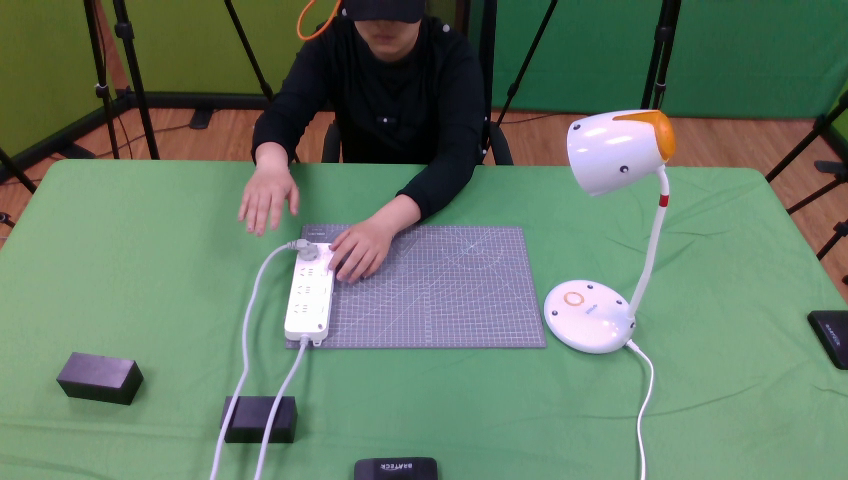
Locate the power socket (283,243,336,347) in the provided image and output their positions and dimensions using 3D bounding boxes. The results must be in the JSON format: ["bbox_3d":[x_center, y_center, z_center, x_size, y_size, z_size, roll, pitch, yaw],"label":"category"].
[{"bbox_3d":[-0.202,0.088,1.086,0.072,0.033,0.225,1,46,-2],"label":"power socket"}]

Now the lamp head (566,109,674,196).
[{"bbox_3d":[0.272,-0.123,0.818,0.122,0.113,0.112,-9,35,37],"label":"lamp head"}]

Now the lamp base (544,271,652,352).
[{"bbox_3d":[0.309,0.086,1.029,0.178,0.181,0.160,32,52,21],"label":"lamp base"}]

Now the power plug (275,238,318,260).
[{"bbox_3d":[-0.232,0.018,1.119,0.072,0.053,0.035,10,47,6],"label":"power plug"}]
